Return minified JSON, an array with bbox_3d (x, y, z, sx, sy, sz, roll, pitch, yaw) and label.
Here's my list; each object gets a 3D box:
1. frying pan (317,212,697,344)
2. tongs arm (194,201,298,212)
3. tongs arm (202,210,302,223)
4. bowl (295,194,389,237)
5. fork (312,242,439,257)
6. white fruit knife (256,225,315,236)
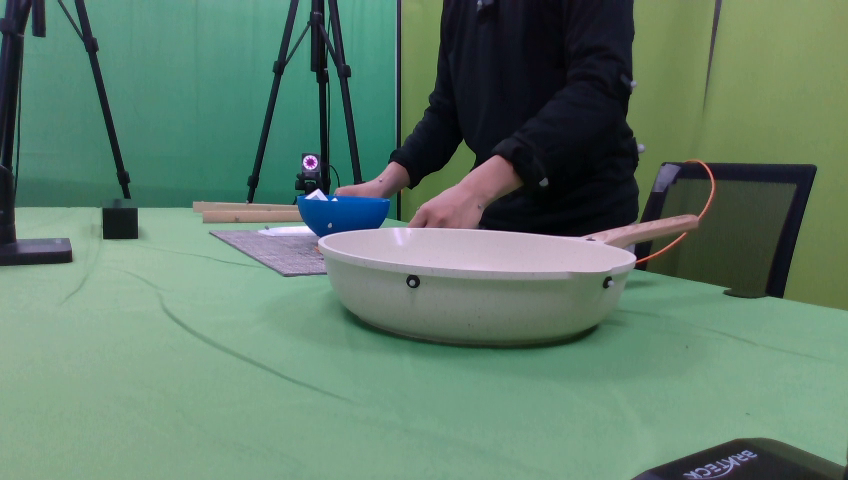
[{"bbox_3d":[0.133,0.013,0.629,0.490,0.102,0.305,-12,14,-31],"label":"frying pan"},{"bbox_3d":[-0.335,-0.072,1.424,0.387,0.026,0.050,0,9,-24],"label":"tongs arm"},{"bbox_3d":[-0.298,-0.057,1.354,0.390,0.028,0.028,-3,7,-36],"label":"tongs arm"},{"bbox_3d":[-0.132,-0.032,0.980,0.151,0.077,0.151,2,7,0],"label":"bowl"},{"bbox_3d":[-0.064,0.013,0.881,0.208,0.018,0.028,-3,-15,-35],"label":"fork"},{"bbox_3d":[-0.200,-0.020,1.092,0.208,0.027,0.016,-3,-32,-34],"label":"white fruit knife"}]
